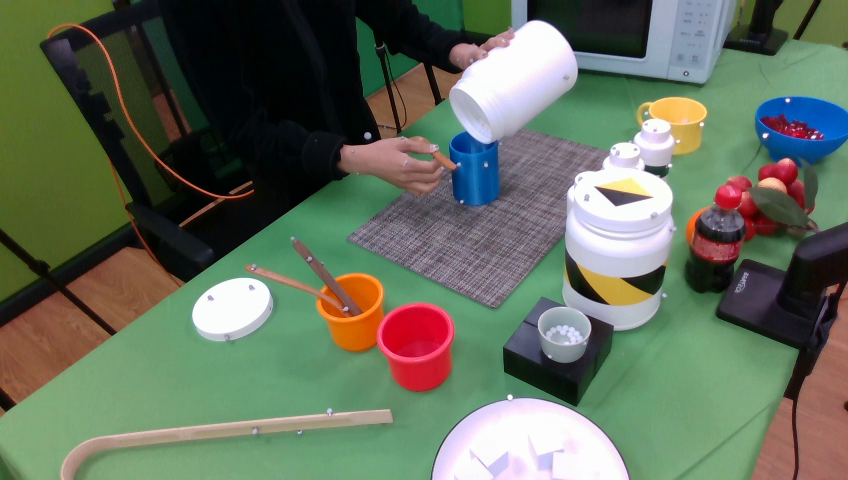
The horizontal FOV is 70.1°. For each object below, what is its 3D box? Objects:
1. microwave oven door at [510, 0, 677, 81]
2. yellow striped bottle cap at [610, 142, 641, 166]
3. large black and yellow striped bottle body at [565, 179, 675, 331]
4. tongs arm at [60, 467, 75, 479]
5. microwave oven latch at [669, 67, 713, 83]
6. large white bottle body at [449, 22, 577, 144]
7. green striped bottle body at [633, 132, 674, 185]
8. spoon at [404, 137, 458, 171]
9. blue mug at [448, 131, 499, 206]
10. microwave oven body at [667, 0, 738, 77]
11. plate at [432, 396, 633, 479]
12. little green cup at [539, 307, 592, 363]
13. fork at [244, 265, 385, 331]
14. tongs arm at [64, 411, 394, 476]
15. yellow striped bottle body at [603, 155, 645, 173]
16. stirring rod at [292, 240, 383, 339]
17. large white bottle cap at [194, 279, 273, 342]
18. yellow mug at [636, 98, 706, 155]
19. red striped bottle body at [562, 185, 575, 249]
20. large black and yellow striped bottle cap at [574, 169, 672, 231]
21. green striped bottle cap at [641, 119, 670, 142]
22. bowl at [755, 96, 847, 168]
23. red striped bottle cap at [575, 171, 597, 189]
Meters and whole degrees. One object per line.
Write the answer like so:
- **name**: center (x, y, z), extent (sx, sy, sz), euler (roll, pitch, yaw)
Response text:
- **microwave oven door**: center (0.354, -0.478, 1.290), extent (0.353, 0.245, 0.039), euler (15, 45, 25)
- **yellow striped bottle cap**: center (0.308, -0.131, 0.925), extent (0.044, 0.019, 0.044), euler (-4, 46, 5)
- **large black and yellow striped bottle body**: center (0.254, 0.014, 0.793), extent (0.131, 0.185, 0.130), euler (-5, 40, 4)
- **tongs arm**: center (-0.239, 0.301, 0.649), extent (0.386, 0.028, 0.028), euler (6, 49, 16)
- **microwave oven latch**: center (0.556, -0.349, 1.261), extent (0.078, 0.029, 0.030), euler (16, 46, 27)
- **large white bottle body**: center (0.143, -0.254, 0.994), extent (0.185, 0.131, 0.129), euler (-39, 47, -12)
- **green striped bottle body**: center (0.376, -0.135, 1.001), extent (0.063, 0.120, 0.063), euler (-5, 40, 5)
- **spoon**: center (0.010, -0.137, 0.957), extent (0.042, 0.022, 0.192), euler (-20, 23, -12)
- **blue mug**: center (0.090, -0.134, 1.050), extent (0.082, 0.106, 0.116), euler (2, 41, 11)
- **microwave oven body**: center (0.462, -0.552, 1.369), extent (0.439, 0.261, 0.326), euler (15, 45, 26)
- **plate**: center (0.112, 0.261, 0.635), extent (0.209, 0.038, 0.208), euler (-5, 40, 4)
- **little green cup**: center (0.167, 0.114, 0.721), extent (0.061, 0.039, 0.061), euler (-4, 43, 4)
- **fork**: center (-0.142, 0.078, 0.806), extent (0.209, 0.018, 0.028), euler (30, 33, -24)
- **tongs arm**: center (-0.228, 0.241, 0.715), extent (0.385, 0.026, 0.050), euler (-5, 44, 5)
- **yellow striped bottle body**: center (0.314, -0.091, 0.957), extent (0.063, 0.121, 0.062), euler (-4, 40, 4)
- **stirring rod**: center (-0.118, 0.068, 0.825), extent (0.176, 0.006, 0.014), euler (48, 59, -4)
- **large white bottle cap**: center (-0.284, 0.103, 0.902), extent (0.115, 0.018, 0.114), euler (-4, 40, 4)
- **yellow mug**: center (0.453, -0.217, 1.128), extent (0.100, 0.064, 0.129), euler (-34, 46, -27)
- **red striped bottle body**: center (0.247, -0.041, 0.910), extent (0.063, 0.120, 0.062), euler (0, 38, 1)
- **large black and yellow striped bottle cap**: center (0.242, -0.051, 0.738), extent (0.115, 0.019, 0.114), euler (-4, 37, 3)
- **green striped bottle cap**: center (0.371, -0.175, 0.968), extent (0.044, 0.020, 0.044), euler (-5, 42, 5)
- **bowl**: center (0.645, -0.177, 1.041), extent (0.151, 0.077, 0.150), euler (-5, 40, 4)
- **red striped bottle cap**: center (0.242, -0.081, 0.876), extent (0.044, 0.018, 0.044), euler (-5, 43, 5)
